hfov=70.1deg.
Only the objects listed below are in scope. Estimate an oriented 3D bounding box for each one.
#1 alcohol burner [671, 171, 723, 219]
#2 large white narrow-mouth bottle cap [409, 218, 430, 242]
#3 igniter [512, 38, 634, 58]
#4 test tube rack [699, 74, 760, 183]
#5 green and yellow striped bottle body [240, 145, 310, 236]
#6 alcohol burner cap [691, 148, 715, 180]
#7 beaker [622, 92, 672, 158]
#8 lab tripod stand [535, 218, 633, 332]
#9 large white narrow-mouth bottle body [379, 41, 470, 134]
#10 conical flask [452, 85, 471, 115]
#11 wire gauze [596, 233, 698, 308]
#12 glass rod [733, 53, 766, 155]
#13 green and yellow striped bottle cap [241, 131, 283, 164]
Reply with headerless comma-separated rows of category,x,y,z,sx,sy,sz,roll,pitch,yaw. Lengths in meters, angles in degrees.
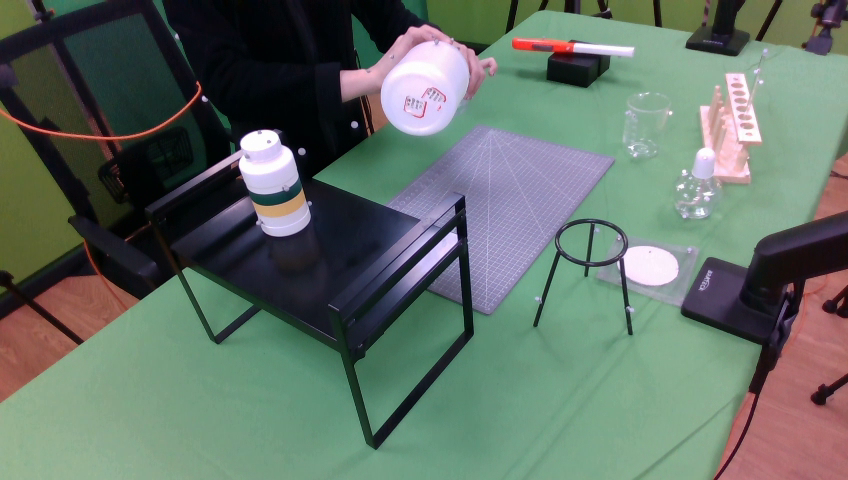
alcohol burner,0.434,-0.093,0.955,0.078,0.119,0.077,-3,43,4
large white narrow-mouth bottle cap,-0.008,-0.017,0.999,0.038,0.024,0.037,-3,39,3
igniter,0.328,-0.433,1.360,0.275,0.025,0.057,12,33,20
test tube rack,0.547,-0.208,1.095,0.066,0.085,0.242,6,42,16
green and yellow striped bottle body,-0.181,-0.069,0.729,0.063,0.120,0.063,-4,40,4
alcohol burner cap,0.432,-0.120,0.930,0.034,0.048,0.033,-7,48,8
beaker,0.402,-0.210,1.106,0.074,0.101,0.083,-9,40,-2
lab tripod stand,0.216,0.050,0.803,0.148,0.132,0.147,-4,42,4
large white narrow-mouth bottle body,0.012,-0.228,0.861,0.101,0.102,0.194,6,32,14
conical flask,0.040,-0.264,1.006,0.075,0.122,0.075,-1,77,5
wire gauze,0.331,0.038,0.897,0.124,0.011,0.121,18,47,26
glass rod,0.540,-0.220,1.006,0.008,0.201,0.008,-5,45,6
green and yellow striped bottle cap,-0.187,-0.107,0.695,0.045,0.020,0.045,-3,39,3
